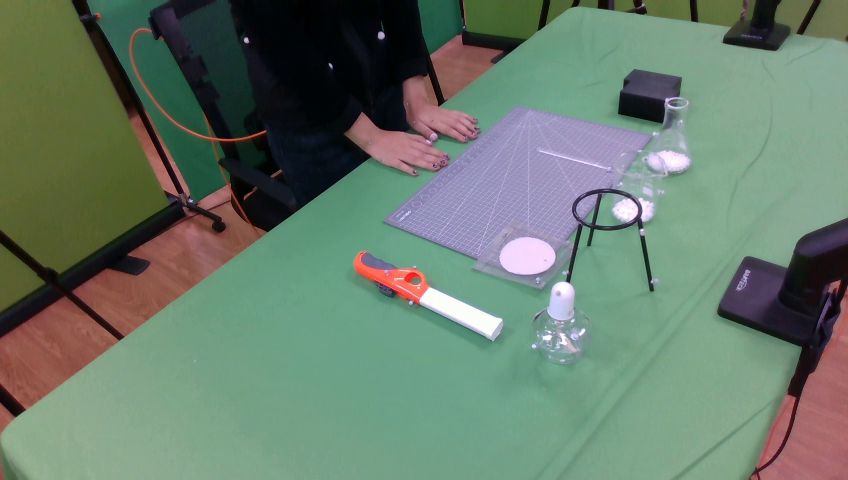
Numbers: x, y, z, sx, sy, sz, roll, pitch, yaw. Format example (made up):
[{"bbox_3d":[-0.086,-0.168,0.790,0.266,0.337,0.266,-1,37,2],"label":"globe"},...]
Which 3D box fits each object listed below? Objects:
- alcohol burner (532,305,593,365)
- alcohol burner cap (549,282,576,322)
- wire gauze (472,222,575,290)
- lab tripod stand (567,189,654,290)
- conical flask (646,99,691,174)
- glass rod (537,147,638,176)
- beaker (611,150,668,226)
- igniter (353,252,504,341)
[{"bbox_3d":[0.174,0.100,0.761,0.078,0.119,0.077,-6,38,5],"label":"alcohol burner"},{"bbox_3d":[0.171,0.073,0.737,0.034,0.048,0.033,-2,38,2],"label":"alcohol burner cap"},{"bbox_3d":[0.157,0.024,0.933,0.120,0.011,0.125,21,49,31],"label":"wire gauze"},{"bbox_3d":[0.251,0.003,0.845,0.148,0.132,0.147,-7,39,6],"label":"lab tripod stand"},{"bbox_3d":[0.426,-0.180,1.037,0.075,0.122,0.075,-5,40,5],"label":"conical flask"},{"bbox_3d":[0.294,-0.145,1.104,0.198,0.008,0.008,22,50,31],"label":"glass rod"},{"bbox_3d":[0.337,-0.079,0.953,0.083,0.101,0.074,25,51,33],"label":"beaker"},{"bbox_3d":[-0.005,0.077,0.889,0.274,0.025,0.057,23,59,33],"label":"igniter"}]
